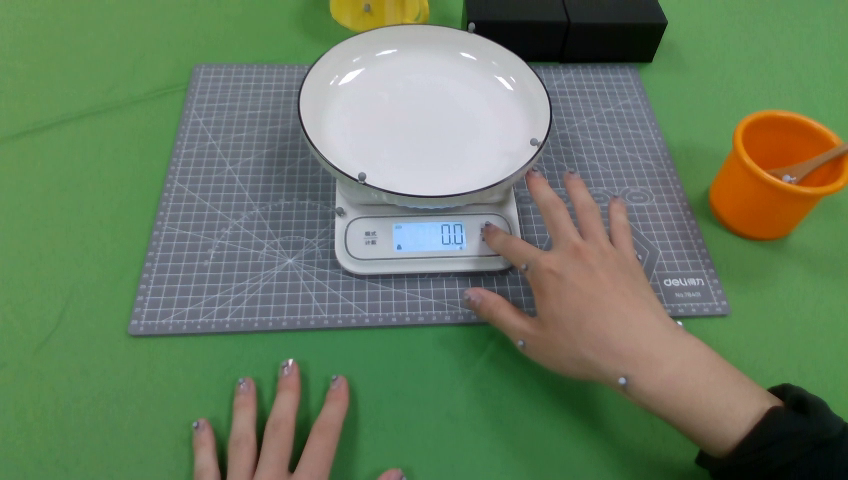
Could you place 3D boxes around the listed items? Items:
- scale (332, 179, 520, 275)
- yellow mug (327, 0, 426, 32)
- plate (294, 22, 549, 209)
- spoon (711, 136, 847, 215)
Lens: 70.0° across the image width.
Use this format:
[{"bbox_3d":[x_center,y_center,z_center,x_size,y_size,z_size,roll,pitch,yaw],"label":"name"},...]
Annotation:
[{"bbox_3d":[-0.002,-0.062,0.517,0.149,0.032,0.199,-1,55,-4],"label":"scale"},{"bbox_3d":[-0.045,-0.271,0.646,0.130,0.064,0.100,39,62,21],"label":"yellow mug"},{"bbox_3d":[-0.002,-0.105,0.507,0.209,0.038,0.207,2,55,-3],"label":"plate"},{"bbox_3d":[0.325,-0.070,0.475,0.022,0.193,0.041,25,46,-42],"label":"spoon"}]
